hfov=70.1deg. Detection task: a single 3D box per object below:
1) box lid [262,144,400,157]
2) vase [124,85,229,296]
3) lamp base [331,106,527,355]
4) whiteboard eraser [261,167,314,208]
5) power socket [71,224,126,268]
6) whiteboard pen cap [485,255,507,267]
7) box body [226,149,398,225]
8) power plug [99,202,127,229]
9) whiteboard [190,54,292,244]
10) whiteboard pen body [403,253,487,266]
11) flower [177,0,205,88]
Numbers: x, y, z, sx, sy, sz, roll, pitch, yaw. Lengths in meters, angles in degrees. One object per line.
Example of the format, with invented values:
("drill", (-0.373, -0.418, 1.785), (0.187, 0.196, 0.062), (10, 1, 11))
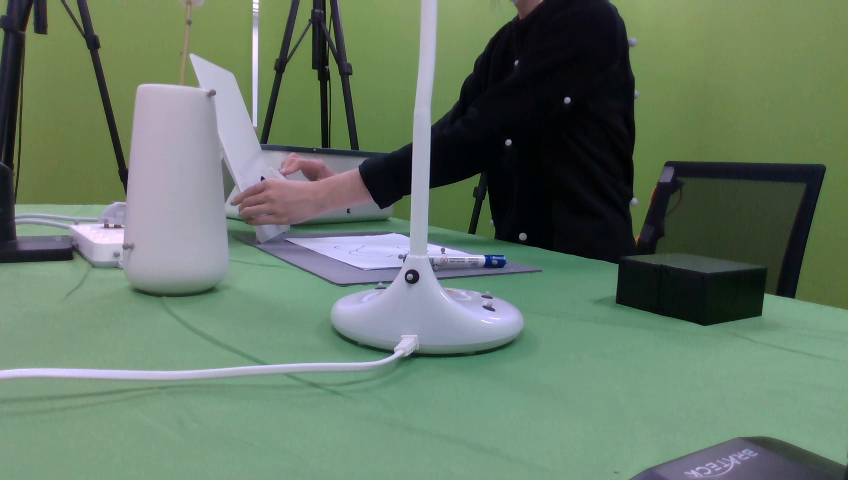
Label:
("box lid", (-0.263, -0.203, 1.369), (0.262, 0.015, 0.373), (9, 10, 39))
("vase", (-0.244, -0.047, 0.598), (0.098, 0.200, 0.098), (3, 8, 0))
("lamp base", (0.006, -0.012, 0.478), (0.161, 0.180, 0.179), (2, 10, 2))
("whiteboard eraser", (-0.237, -0.087, 1.051), (0.055, 0.042, 0.113), (36, 0, 14))
("power socket", (-0.409, 0.004, 0.793), (0.072, 0.032, 0.225), (-2, 8, -37))
("whiteboard pen cap", (0.093, 0.028, 0.809), (0.033, 0.018, 0.018), (0, 8, -24))
("box body", (-0.265, -0.129, 1.380), (0.253, 0.160, 0.366), (8, 9, 39))
("power plug", (-0.415, -0.026, 0.848), (0.073, 0.052, 0.035), (6, 5, -28))
("whiteboard", (-0.364, -0.129, 1.028), (0.144, 0.305, 0.217), (-18, 7, 3))
("whiteboard pen body", (0.039, 0.026, 0.785), (0.141, 0.017, 0.017), (2, 7, -24))
("flower", (-0.243, -0.131, 0.609), (0.044, 0.361, 0.038), (-5, -12, 11))
